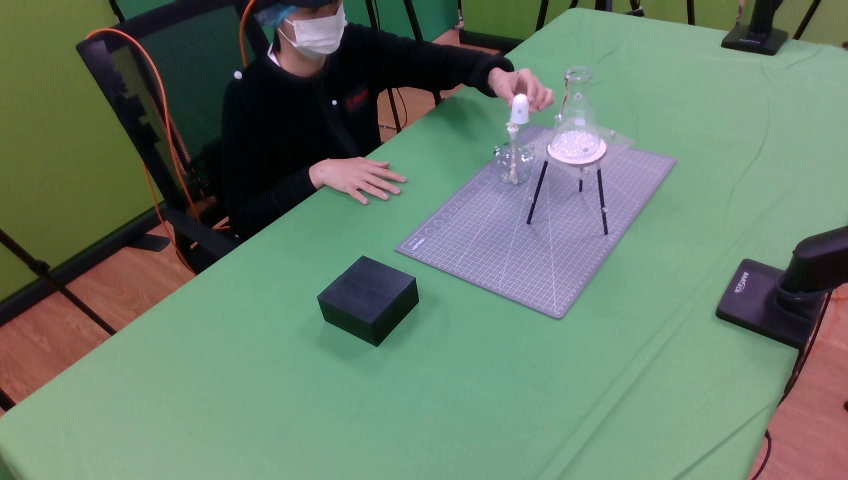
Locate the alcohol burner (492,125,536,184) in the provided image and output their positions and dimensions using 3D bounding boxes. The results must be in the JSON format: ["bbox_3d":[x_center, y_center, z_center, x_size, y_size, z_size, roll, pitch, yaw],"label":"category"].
[{"bbox_3d":[0.159,-0.158,1.064,0.078,0.119,0.077,-3,41,3],"label":"alcohol burner"}]

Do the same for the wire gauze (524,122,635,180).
[{"bbox_3d":[0.233,-0.142,0.913,0.122,0.011,0.124,-31,42,-26],"label":"wire gauze"}]

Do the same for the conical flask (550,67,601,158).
[{"bbox_3d":[0.221,-0.186,0.875,0.075,0.122,0.075,-5,40,5],"label":"conical flask"}]

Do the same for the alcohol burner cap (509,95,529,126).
[{"bbox_3d":[0.161,-0.219,1.014,0.034,0.048,0.033,-1,35,1],"label":"alcohol burner cap"}]

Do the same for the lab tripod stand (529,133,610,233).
[{"bbox_3d":[0.236,-0.089,0.953,0.148,0.132,0.147,-5,42,5],"label":"lab tripod stand"}]
